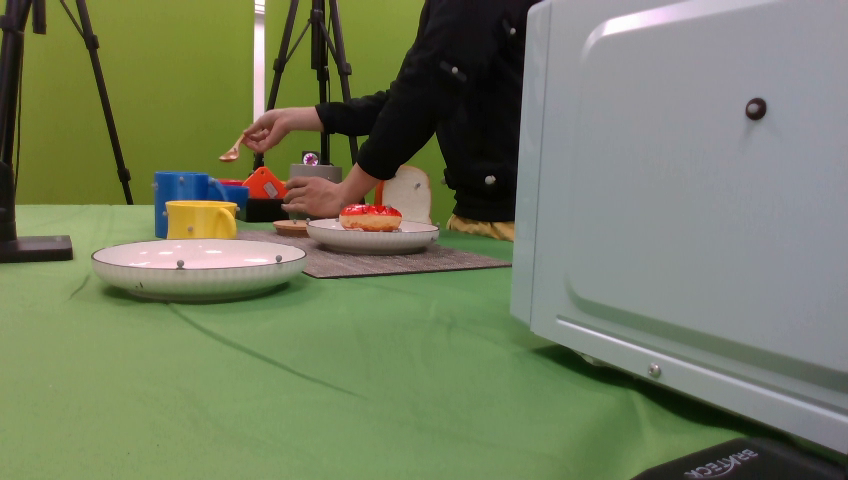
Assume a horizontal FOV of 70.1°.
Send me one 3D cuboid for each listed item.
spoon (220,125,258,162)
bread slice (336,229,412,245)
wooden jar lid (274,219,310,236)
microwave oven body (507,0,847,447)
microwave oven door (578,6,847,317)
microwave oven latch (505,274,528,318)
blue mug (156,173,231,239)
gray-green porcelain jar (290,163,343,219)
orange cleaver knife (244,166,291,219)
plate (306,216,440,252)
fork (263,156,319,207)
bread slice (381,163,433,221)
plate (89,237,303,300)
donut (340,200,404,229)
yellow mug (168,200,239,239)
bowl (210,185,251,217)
[{"bbox_3d":[-0.438,-0.235,1.457,0.041,0.021,0.193,3,39,9],"label":"spoon"},{"bbox_3d":[-0.074,-0.005,0.938,0.105,0.019,0.131,-2,4,-19],"label":"bread slice"},{"bbox_3d":[-0.213,-0.023,1.081,0.108,0.020,0.108,3,8,0],"label":"wooden jar lid"},{"bbox_3d":[0.331,-0.042,0.425,0.444,0.260,0.324,-2,8,-31],"label":"microwave oven body"},{"bbox_3d":[0.294,-0.067,0.570,0.358,0.243,0.039,-3,9,-31],"label":"microwave oven door"},{"bbox_3d":[0.100,0.041,0.472,0.079,0.029,0.030,-2,8,-30],"label":"microwave oven latch"},{"bbox_3d":[-0.381,-0.057,1.004,0.117,0.106,0.082,0,8,-12],"label":"blue mug"},{"bbox_3d":[-0.218,-0.091,1.222,0.106,0.126,0.106,1,7,0],"label":"gray-green porcelain jar"},{"bbox_3d":[-0.301,-0.089,1.352,0.212,0.077,0.012,32,-9,-34],"label":"orange cleaver knife"},{"bbox_3d":[-0.079,-0.011,0.950,0.209,0.038,0.209,2,8,0],"label":"plate"},{"bbox_3d":[-0.331,-0.144,1.506,0.207,0.018,0.028,-42,-13,22],"label":"fork"},{"bbox_3d":[-0.035,-0.076,1.124,0.107,0.134,0.018,-4,1,-25],"label":"bread slice"},{"bbox_3d":[-0.233,0.029,0.637,0.208,0.039,0.207,2,7,0],"label":"plate"},{"bbox_3d":[-0.081,-0.038,0.945,0.099,0.048,0.099,1,4,0],"label":"donut"},{"bbox_3d":[-0.320,-0.023,0.904,0.130,0.064,0.100,9,11,36],"label":"yellow mug"},{"bbox_3d":[-0.408,-0.064,1.154,0.151,0.077,0.151,2,8,0],"label":"bowl"}]
